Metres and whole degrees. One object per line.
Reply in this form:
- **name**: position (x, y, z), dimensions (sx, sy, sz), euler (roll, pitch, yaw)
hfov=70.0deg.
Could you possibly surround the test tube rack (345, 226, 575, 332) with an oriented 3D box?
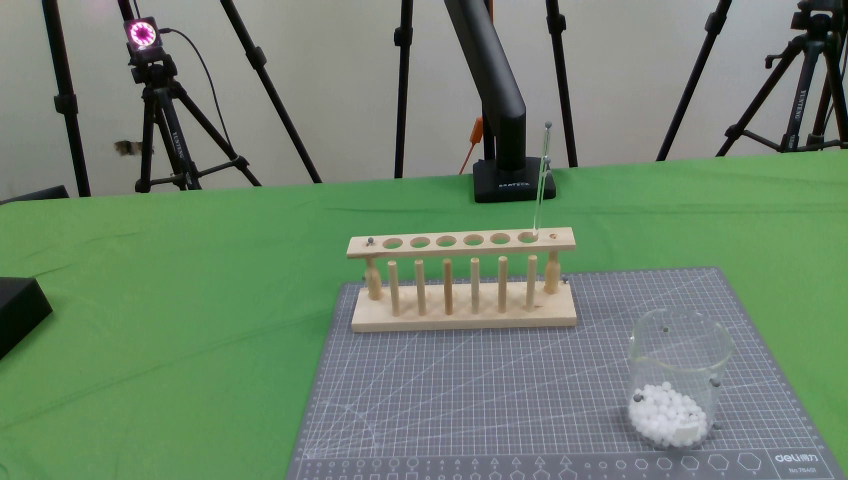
- **test tube rack**: position (0.039, 0.043, 0.659), dimensions (0.242, 0.086, 0.066), euler (-3, 33, 5)

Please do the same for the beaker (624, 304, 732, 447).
- **beaker**: position (0.204, 0.116, 0.504), dimensions (0.084, 0.101, 0.073), euler (-13, 33, -10)

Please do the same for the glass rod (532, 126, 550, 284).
- **glass rod**: position (0.118, -0.024, 0.625), dimensions (0.008, 0.201, 0.008), euler (-1, 34, 1)
